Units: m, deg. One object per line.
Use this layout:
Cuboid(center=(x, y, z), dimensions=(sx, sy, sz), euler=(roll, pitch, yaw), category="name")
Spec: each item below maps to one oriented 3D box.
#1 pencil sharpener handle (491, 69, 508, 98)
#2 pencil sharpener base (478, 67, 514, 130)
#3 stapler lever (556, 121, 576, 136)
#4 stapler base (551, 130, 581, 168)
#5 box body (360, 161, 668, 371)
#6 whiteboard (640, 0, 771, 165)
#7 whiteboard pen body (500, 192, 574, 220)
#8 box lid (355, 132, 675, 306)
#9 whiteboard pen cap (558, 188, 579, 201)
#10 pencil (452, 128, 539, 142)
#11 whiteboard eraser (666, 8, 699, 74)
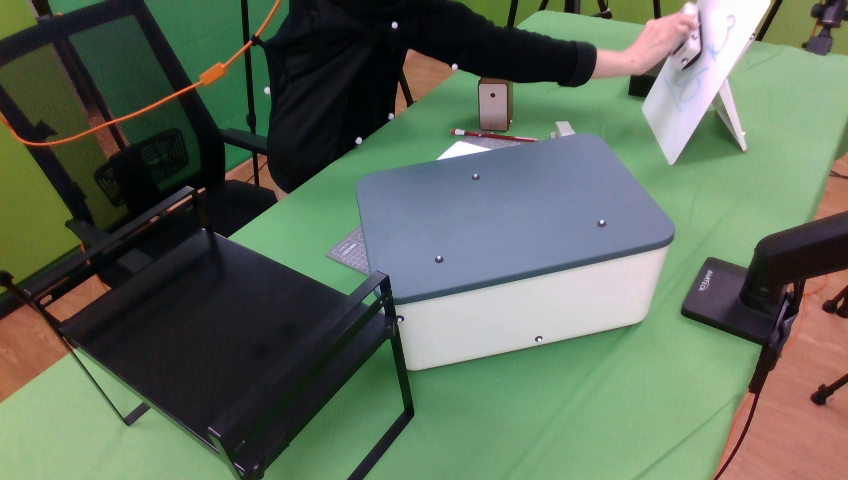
Cuboid(center=(0.156, -0.330, 1.254), dimensions=(0.036, 0.068, 0.030), euler=(16, 43, 4), category="pencil sharpener handle")
Cuboid(center=(0.148, -0.287, 1.224), dimensions=(0.061, 0.107, 0.076), euler=(5, 41, 15), category="pencil sharpener base")
Cuboid(center=(0.267, -0.198, 1.128), dimensions=(0.027, 0.040, 0.117), euler=(1, 38, 3), category="stapler lever")
Cuboid(center=(0.268, -0.178, 1.142), dimensions=(0.041, 0.024, 0.130), euler=(1, 37, 3), category="stapler base")
Cuboid(center=(0.109, 0.014, 0.833), dimensions=(0.365, 0.161, 0.252), euler=(-11, 41, -5), category="box body")
Cuboid(center=(0.544, -0.298, 1.076), dimensions=(0.144, 0.305, 0.216), euler=(12, 40, -7), category="whiteboard")
Cuboid(center=(0.191, -0.059, 1.011), dimensions=(0.141, 0.017, 0.017), euler=(-18, 42, -16), category="whiteboard pen body")
Cuboid(center=(0.103, -0.042, 0.785), dimensions=(0.372, 0.015, 0.261), euler=(-12, 41, -5), category="box lid")
Cuboid(center=(0.245, -0.076, 1.028), dimensions=(0.033, 0.018, 0.018), euler=(-19, 42, -14), category="whiteboard pen cap")
Cuboid(center=(0.146, -0.207, 1.205), dimensions=(0.193, 0.012, 0.012), euler=(11, 43, 20), category="pencil")
Cuboid(center=(0.465, -0.356, 1.086), dimensions=(0.042, 0.055, 0.112), euler=(13, 63, -10), category="whiteboard eraser")
